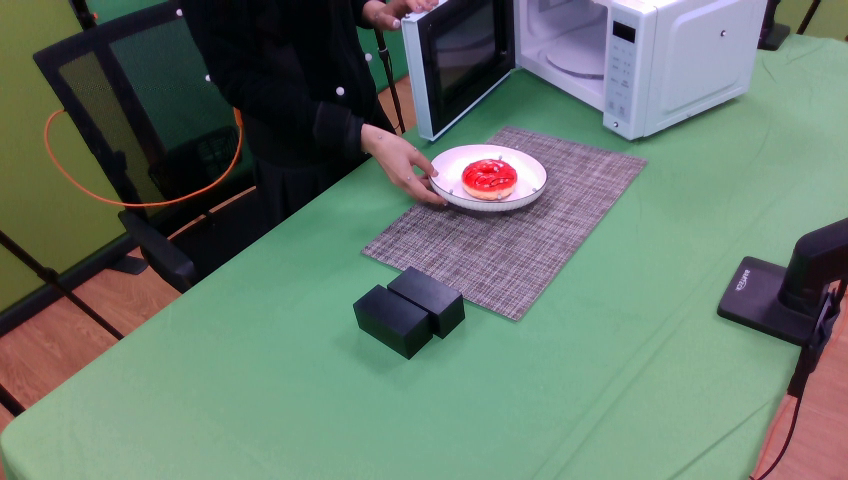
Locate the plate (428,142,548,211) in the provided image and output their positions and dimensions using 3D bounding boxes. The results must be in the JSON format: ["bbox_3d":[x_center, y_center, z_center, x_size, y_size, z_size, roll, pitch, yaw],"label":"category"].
[{"bbox_3d":[0.109,-0.107,1.053,0.209,0.038,0.208,2,36,-1],"label":"plate"}]

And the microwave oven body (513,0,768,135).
[{"bbox_3d":[0.410,-0.441,1.235,0.327,0.261,0.437,-25,42,-16],"label":"microwave oven body"}]

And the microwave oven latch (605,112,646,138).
[{"bbox_3d":[0.375,-0.217,1.130,0.030,0.029,0.078,-25,42,-16],"label":"microwave oven latch"}]

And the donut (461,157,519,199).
[{"bbox_3d":[0.112,-0.108,1.035,0.099,0.048,0.098,0,37,0],"label":"donut"}]

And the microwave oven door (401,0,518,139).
[{"bbox_3d":[0.087,-0.400,1.241,0.039,0.245,0.356,20,48,30],"label":"microwave oven door"}]
